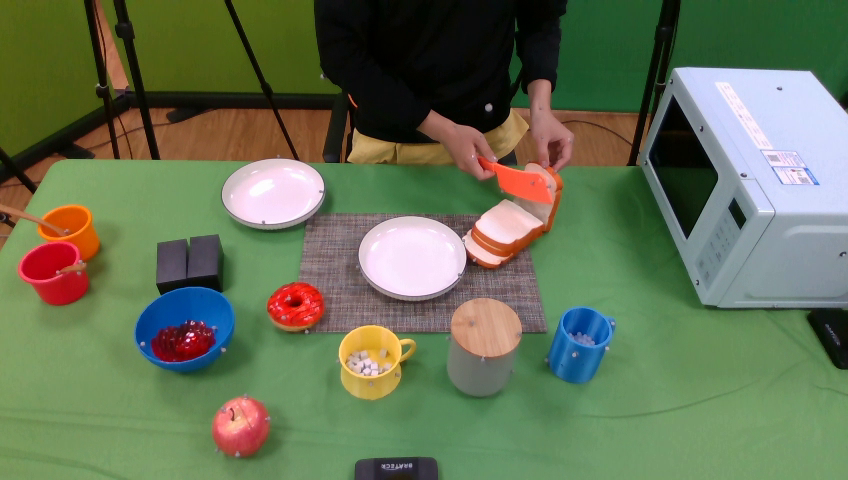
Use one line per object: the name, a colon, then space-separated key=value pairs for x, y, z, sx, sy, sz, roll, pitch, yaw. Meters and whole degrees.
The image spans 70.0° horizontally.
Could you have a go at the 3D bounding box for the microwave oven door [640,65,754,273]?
microwave oven door: x=0.523 y=-0.147 z=1.193 sx=0.039 sy=0.245 sz=0.353 roll=0 pitch=47 yaw=-3

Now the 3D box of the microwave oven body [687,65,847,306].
microwave oven body: x=0.669 y=-0.111 z=1.176 sx=0.326 sy=0.261 sz=0.439 roll=0 pitch=46 yaw=-3

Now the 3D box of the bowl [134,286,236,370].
bowl: x=-0.377 y=0.155 z=0.981 sx=0.151 sy=0.077 sz=0.150 roll=2 pitch=46 yaw=-2

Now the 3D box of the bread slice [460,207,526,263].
bread slice: x=0.127 y=-0.008 z=1.193 sx=0.104 sy=0.019 sz=0.131 roll=21 pitch=50 yaw=24

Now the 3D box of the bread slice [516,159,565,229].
bread slice: x=0.238 y=-0.096 z=1.228 sx=0.018 sy=0.135 sz=0.106 roll=-26 pitch=54 yaw=-30

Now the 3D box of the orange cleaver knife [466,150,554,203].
orange cleaver knife: x=0.167 y=-0.126 z=1.193 sx=0.210 sy=0.077 sz=0.012 roll=27 pitch=55 yaw=39

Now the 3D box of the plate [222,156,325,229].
plate: x=-0.308 y=-0.095 z=1.251 sx=0.209 sy=0.038 sz=0.208 roll=2 pitch=46 yaw=-2

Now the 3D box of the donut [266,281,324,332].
donut: x=-0.222 y=0.114 z=1.049 sx=0.099 sy=0.048 sz=0.098 roll=2 pitch=46 yaw=-2

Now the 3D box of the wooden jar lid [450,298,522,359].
wooden jar lid: x=0.093 y=0.135 z=0.914 sx=0.108 sy=0.021 sz=0.107 roll=2 pitch=48 yaw=-3

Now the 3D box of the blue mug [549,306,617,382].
blue mug: x=0.269 y=0.166 z=0.998 sx=0.116 sy=0.106 sz=0.082 roll=-19 pitch=51 yaw=-21

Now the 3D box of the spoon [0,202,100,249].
spoon: x=-0.684 y=-0.031 z=1.088 sx=0.021 sy=0.195 sz=0.041 roll=-34 pitch=43 yaw=26

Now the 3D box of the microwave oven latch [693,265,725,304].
microwave oven latch: x=0.523 y=0.082 z=1.116 sx=0.030 sy=0.029 sz=0.078 roll=2 pitch=46 yaw=-1

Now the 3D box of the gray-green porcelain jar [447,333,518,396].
gray-green porcelain jar: x=0.091 y=0.178 z=0.960 sx=0.106 sy=0.127 sz=0.105 roll=2 pitch=46 yaw=-2

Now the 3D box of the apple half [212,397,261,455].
apple half: x=-0.276 y=0.276 z=0.877 sx=0.053 sy=0.075 sz=0.080 roll=-29 pitch=58 yaw=-21

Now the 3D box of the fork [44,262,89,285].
fork: x=-0.598 y=0.054 z=1.014 sx=0.207 sy=0.019 sz=0.028 roll=-15 pitch=28 yaw=45

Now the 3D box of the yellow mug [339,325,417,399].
yellow mug: x=-0.072 y=0.190 z=0.978 sx=0.131 sy=0.064 sz=0.099 roll=-17 pitch=50 yaw=-20

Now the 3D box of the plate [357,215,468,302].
plate: x=-0.022 y=0.037 z=1.141 sx=0.208 sy=0.039 sz=0.206 roll=2 pitch=46 yaw=-2

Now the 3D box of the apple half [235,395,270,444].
apple half: x=-0.245 y=0.259 z=0.893 sx=0.033 sy=0.082 sz=0.081 roll=-29 pitch=55 yaw=-22
